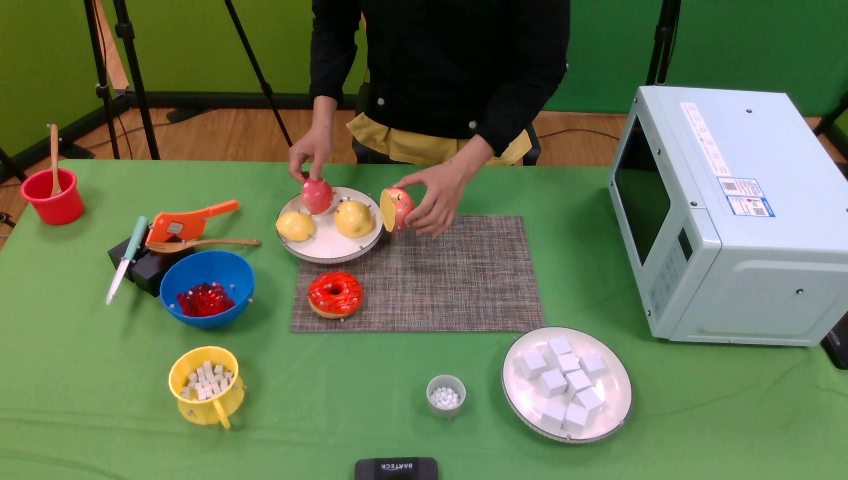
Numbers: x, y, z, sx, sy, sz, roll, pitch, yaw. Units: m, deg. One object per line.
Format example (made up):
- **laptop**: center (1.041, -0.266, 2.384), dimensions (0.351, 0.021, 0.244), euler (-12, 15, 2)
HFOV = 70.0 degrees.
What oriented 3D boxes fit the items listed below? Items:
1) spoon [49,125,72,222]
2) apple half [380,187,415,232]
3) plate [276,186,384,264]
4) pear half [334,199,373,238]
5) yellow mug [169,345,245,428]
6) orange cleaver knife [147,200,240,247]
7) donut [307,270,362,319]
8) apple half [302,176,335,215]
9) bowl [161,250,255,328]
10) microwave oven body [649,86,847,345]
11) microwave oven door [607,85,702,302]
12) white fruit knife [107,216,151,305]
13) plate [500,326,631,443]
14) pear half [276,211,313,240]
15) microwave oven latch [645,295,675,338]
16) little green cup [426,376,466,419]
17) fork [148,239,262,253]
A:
- **spoon**: center (-0.717, -0.131, 1.189), dimensions (0.042, 0.021, 0.193), euler (-3, 90, -7)
- **apple half**: center (-0.045, -0.056, 1.119), dimensions (0.053, 0.075, 0.080), euler (-7, 47, -24)
- **plate**: center (-0.184, -0.027, 1.194), dimensions (0.209, 0.038, 0.208), euler (2, 46, -2)
- **pear half**: center (-0.147, -0.060, 1.210), dimensions (0.076, 0.056, 0.109), euler (-16, 45, -25)
- **yellow mug**: center (-0.322, 0.230, 0.922), dimensions (0.100, 0.064, 0.130), euler (-24, 53, -25)
- **orange cleaver knife**: center (-0.435, -0.033, 1.157), dimensions (0.012, 0.077, 0.211), euler (31, 26, 18)
- **donut**: center (-0.157, 0.097, 1.073), dimensions (0.099, 0.048, 0.098), euler (4, 45, -4)
- **apple half**: center (-0.205, -0.088, 1.207), dimensions (0.032, 0.082, 0.081), euler (-6, 37, 37)
- **bowl**: center (-0.362, 0.097, 1.040), dimensions (0.151, 0.077, 0.150), euler (2, 45, -2)
- **microwave oven body**: center (0.567, -0.053, 1.118), dimensions (0.326, 0.261, 0.439), euler (2, 45, -1)
- **microwave oven door**: center (0.423, -0.094, 1.140), dimensions (0.039, 0.245, 0.353), euler (2, 46, -1)
- **white fruit knife**: center (-0.518, 0.032, 1.066), dimensions (0.027, 0.016, 0.206), euler (-18, 45, 19)
- **plate**: center (0.224, 0.234, 0.978), dimensions (0.208, 0.039, 0.206), euler (2, 46, -2)
- **pear half**: center (-0.244, -0.036, 1.179), dimensions (0.070, 0.031, 0.088), euler (42, 41, 4)
- **microwave oven latch**: center (0.412, 0.134, 1.061), dimensions (0.030, 0.029, 0.078), euler (3, 45, 0)
- **little green cup**: center (0.033, 0.248, 0.950), dimensions (0.061, 0.039, 0.061), euler (2, 46, -2)
- **fork**: center (-0.398, 0.008, 1.117), dimensions (0.208, 0.019, 0.028), euler (-5, 33, -37)
